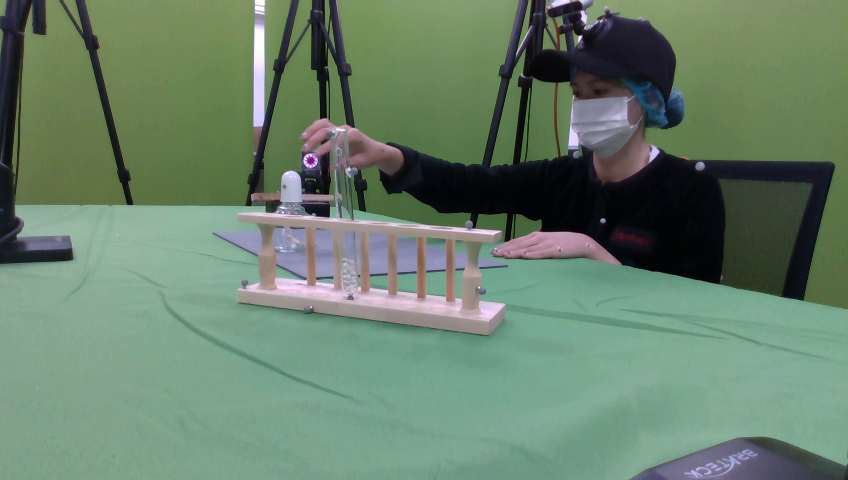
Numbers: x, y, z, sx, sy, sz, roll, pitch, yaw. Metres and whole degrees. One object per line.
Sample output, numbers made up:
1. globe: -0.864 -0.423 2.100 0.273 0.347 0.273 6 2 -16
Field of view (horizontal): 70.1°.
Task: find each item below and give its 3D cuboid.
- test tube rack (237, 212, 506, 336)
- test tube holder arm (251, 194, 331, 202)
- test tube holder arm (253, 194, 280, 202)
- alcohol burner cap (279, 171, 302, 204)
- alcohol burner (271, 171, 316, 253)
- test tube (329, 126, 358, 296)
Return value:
1. test tube rack: -0.049 0.024 0.552 0.242 0.085 0.067 5 8 18
2. test tube holder arm: -0.267 -0.085 1.236 0.179 0.015 0.013 -3 5 -42
3. test tube holder arm: -0.297 -0.083 1.202 0.088 0.015 0.010 -3 5 -41
4. alcohol burner cap: -0.195 -0.077 0.880 0.034 0.048 0.034 0 6 0
5. alcohol burner: -0.196 -0.041 0.884 0.078 0.119 0.078 3 5 0
6. test tube: -0.071 -0.025 0.535 0.017 0.150 0.017 -3 8 1
